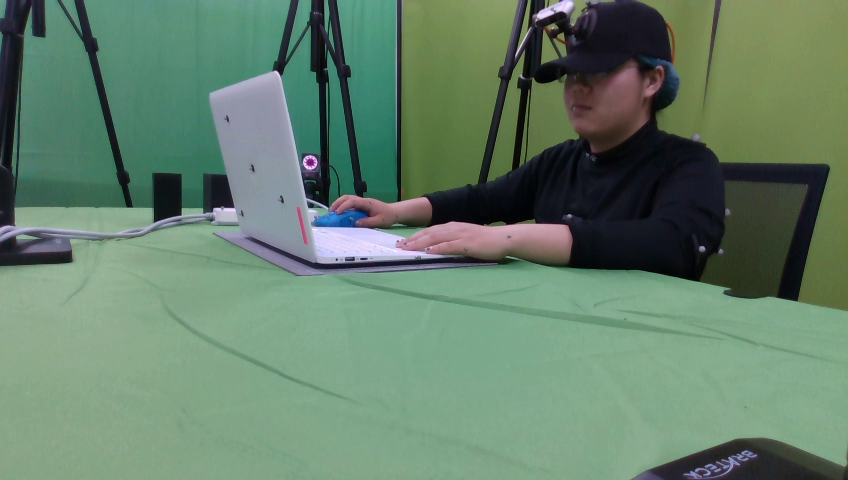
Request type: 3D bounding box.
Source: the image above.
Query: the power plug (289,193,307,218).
[{"bbox_3d":[-0.281,-0.076,1.340,0.035,0.052,0.072,3,6,-17],"label":"power plug"}]

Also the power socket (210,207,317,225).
[{"bbox_3d":[-0.334,-0.051,1.281,0.228,0.032,0.072,-1,8,-28],"label":"power socket"}]

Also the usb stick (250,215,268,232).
[{"bbox_3d":[-0.290,-0.028,1.069,0.021,0.027,0.059,0,11,-30],"label":"usb stick"}]

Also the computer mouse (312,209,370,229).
[{"bbox_3d":[-0.173,-0.043,1.266,0.118,0.041,0.062,-7,14,-34],"label":"computer mouse"}]

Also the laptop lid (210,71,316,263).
[{"bbox_3d":[-0.241,-0.104,0.861,0.013,0.241,0.355,-16,17,-29],"label":"laptop lid"}]

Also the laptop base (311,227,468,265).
[{"bbox_3d":[-0.123,0.007,0.951,0.237,0.023,0.352,2,6,-32],"label":"laptop base"}]
